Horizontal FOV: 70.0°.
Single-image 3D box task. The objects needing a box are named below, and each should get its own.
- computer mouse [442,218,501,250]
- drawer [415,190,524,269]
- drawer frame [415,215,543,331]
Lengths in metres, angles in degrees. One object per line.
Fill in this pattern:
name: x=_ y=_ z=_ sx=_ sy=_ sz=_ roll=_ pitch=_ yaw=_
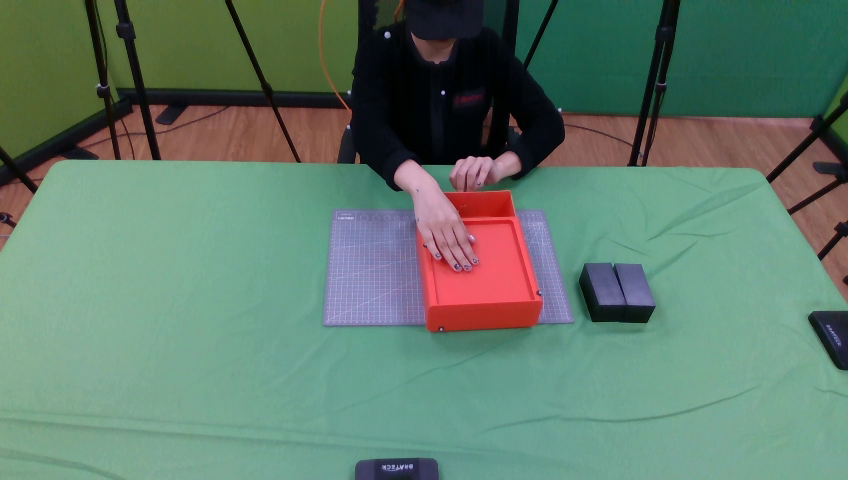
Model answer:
computer mouse: x=0.094 y=-0.012 z=1.190 sx=0.117 sy=0.041 sz=0.062 roll=4 pitch=42 yaw=-9
drawer: x=0.087 y=-0.002 z=1.162 sx=0.195 sy=0.073 sz=0.210 roll=-1 pitch=46 yaw=-6
drawer frame: x=0.093 y=0.055 z=1.107 sx=0.202 sy=0.083 sz=0.212 roll=-2 pitch=47 yaw=-7
